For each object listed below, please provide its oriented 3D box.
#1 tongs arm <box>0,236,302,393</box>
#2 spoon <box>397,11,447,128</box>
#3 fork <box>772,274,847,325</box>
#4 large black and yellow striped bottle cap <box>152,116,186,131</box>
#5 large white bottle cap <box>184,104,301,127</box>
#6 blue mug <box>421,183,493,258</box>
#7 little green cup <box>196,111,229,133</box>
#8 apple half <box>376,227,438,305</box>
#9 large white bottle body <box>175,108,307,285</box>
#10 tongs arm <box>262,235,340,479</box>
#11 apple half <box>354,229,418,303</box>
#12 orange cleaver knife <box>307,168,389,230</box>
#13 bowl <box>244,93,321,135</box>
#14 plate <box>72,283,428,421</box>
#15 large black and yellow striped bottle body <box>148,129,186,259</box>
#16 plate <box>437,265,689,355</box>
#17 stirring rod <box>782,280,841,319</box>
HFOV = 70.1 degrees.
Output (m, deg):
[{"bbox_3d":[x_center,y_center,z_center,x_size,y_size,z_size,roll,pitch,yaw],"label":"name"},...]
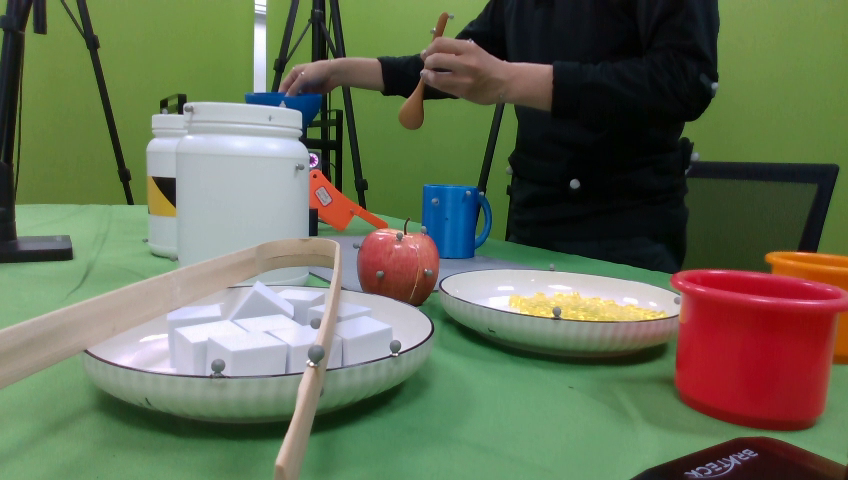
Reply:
[{"bbox_3d":[-0.157,0.037,0.351,0.028,0.028,0.388,-3,8,11],"label":"tongs arm"},{"bbox_3d":[-0.001,-0.243,0.882,0.041,0.193,0.021,23,38,2],"label":"spoon"},{"bbox_3d":[0.332,0.018,0.443,0.028,0.018,0.207,-1,-36,-15],"label":"fork"},{"bbox_3d":[-0.309,-0.155,0.826,0.115,0.019,0.115,3,6,0],"label":"large black and yellow striped bottle cap"},{"bbox_3d":[-0.184,-0.126,0.618,0.115,0.018,0.115,2,8,0],"label":"large white bottle cap"},{"bbox_3d":[0.052,-0.032,0.912,0.117,0.106,0.082,-1,8,-24],"label":"blue mug"},{"bbox_3d":[-0.403,-0.225,1.154,0.061,0.038,0.061,3,8,0],"label":"little green cup"},{"bbox_3d":[-0.017,0.026,0.593,0.080,0.074,0.053,4,2,43],"label":"apple half"},{"bbox_3d":[-0.188,-0.042,0.630,0.131,0.184,0.130,2,8,0],"label":"large white bottle body"},{"bbox_3d":[-0.074,0.039,0.349,0.051,0.026,0.384,-1,9,-3],"label":"tongs arm"},{"bbox_3d":[-0.044,0.027,0.564,0.081,0.081,0.033,9,5,42],"label":"apple half"},{"bbox_3d":[-0.158,-0.060,1.166,0.212,0.077,0.012,34,-12,-32],"label":"orange cleaver knife"},{"bbox_3d":[-0.281,-0.253,1.217,0.151,0.077,0.151,1,16,0],"label":"bowl"},{"bbox_3d":[-0.102,0.066,0.381,0.208,0.039,0.207,2,7,0],"label":"plate"},{"bbox_3d":[-0.310,-0.073,0.838,0.131,0.184,0.130,2,8,0],"label":"large black and yellow striped bottle body"},{"bbox_3d":[0.114,0.057,0.517,0.209,0.038,0.209,3,8,0],"label":"plate"},{"bbox_3d":[0.344,0.019,0.460,0.014,0.006,0.176,-13,-27,-30],"label":"stirring rod"}]
